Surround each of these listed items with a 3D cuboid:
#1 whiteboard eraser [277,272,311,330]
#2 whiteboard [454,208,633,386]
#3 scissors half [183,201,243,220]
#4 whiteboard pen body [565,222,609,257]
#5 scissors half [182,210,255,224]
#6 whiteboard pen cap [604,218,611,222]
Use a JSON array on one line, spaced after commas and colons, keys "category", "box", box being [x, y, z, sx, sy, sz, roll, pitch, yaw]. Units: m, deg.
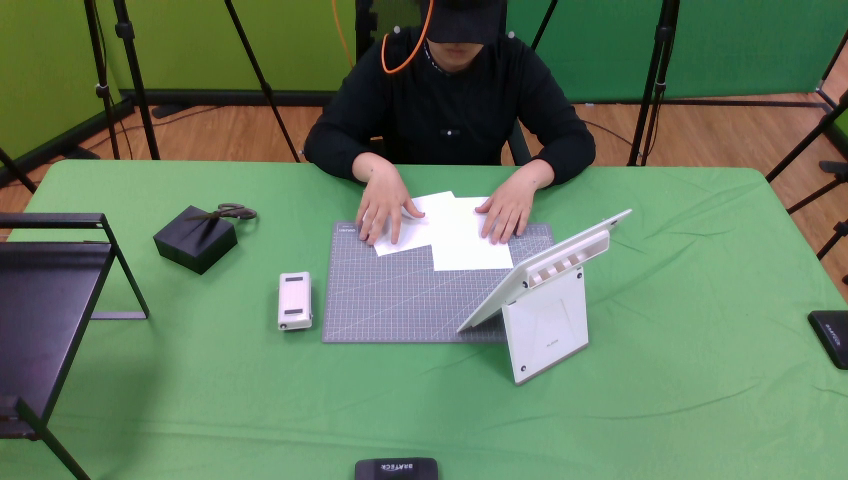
[{"category": "whiteboard eraser", "box": [-0.228, 0.108, 1.062, 0.056, 0.042, 0.112, -3, 46, -10]}, {"category": "whiteboard", "box": [0.211, 0.111, 0.954, 0.217, 0.306, 0.143, -22, 72, -24]}, {"category": "scissors half", "box": [-0.405, -0.054, 1.163, 0.040, 0.013, 0.175, 29, 18, 7]}, {"category": "whiteboard pen body", "box": [0.334, -0.004, 1.228, 0.141, 0.017, 0.017, -33, 56, -29]}, {"category": "scissors half", "box": [-0.389, -0.042, 1.158, 0.040, 0.013, 0.175, 40, 21, 23]}, {"category": "whiteboard pen cap", "box": [0.378, -0.031, 1.255, 0.033, 0.018, 0.018, -33, 56, -28]}]
